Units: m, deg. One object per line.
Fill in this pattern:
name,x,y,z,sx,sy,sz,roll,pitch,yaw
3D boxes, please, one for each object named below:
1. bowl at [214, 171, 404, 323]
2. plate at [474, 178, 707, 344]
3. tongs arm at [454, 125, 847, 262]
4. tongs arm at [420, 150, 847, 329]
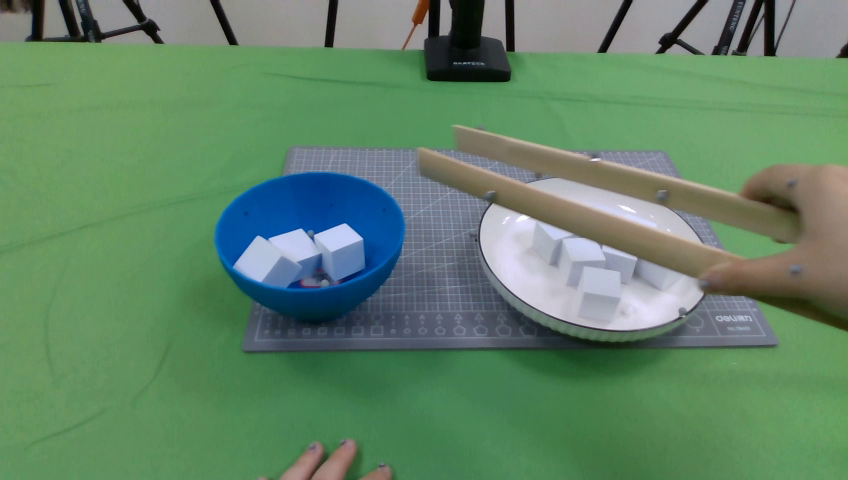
bowl,-0.092,0.016,0.511,0.151,0.077,0.150,2,41,-2
plate,0.148,0.018,0.557,0.208,0.039,0.205,2,41,-2
tongs arm,0.174,-0.014,0.387,0.382,0.027,0.050,19,44,27
tongs arm,0.156,0.003,0.369,0.384,0.028,0.028,21,42,28
